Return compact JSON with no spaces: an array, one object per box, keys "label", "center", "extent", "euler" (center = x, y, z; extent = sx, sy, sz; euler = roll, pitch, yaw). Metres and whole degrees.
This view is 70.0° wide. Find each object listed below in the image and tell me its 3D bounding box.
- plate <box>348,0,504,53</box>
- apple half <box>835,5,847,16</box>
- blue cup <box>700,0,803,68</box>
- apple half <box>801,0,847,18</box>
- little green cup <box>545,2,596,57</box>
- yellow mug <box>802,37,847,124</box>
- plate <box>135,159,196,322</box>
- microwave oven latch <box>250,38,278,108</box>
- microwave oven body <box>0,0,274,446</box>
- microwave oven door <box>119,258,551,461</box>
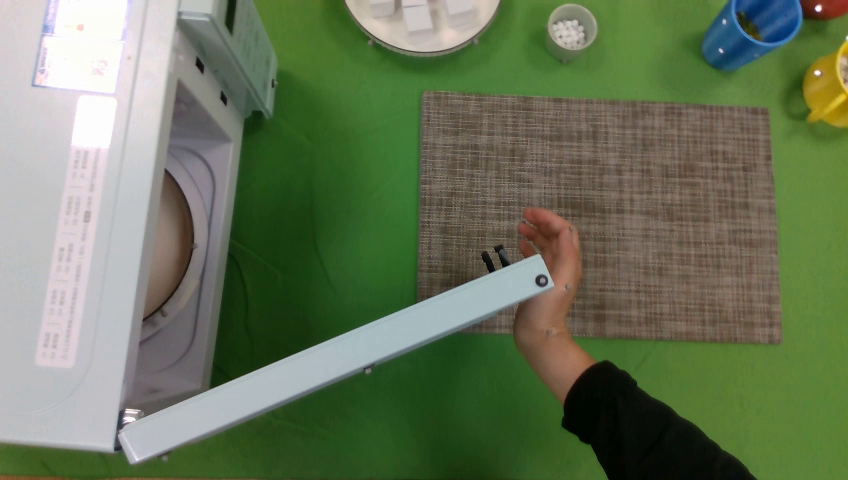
[{"label":"plate","center":[0.002,-0.332,0.770],"extent":[0.208,0.039,0.207],"euler":[0,82,-3]},{"label":"apple half","center":[0.551,-0.326,0.779],"extent":[0.033,0.081,0.081],"euler":[8,81,2]},{"label":"blue cup","center":[0.394,-0.261,0.749],"extent":[0.093,0.100,0.092],"euler":[0,83,-4]},{"label":"apple half","center":[0.512,-0.331,0.779],"extent":[0.053,0.075,0.080],"euler":[8,85,2]},{"label":"little green cup","center":[0.184,-0.265,0.771],"extent":[0.061,0.039,0.061],"euler":[0,82,-2]},{"label":"yellow mug","center":[0.536,-0.195,0.765],"extent":[0.131,0.064,0.100],"euler":[-40,86,-6]},{"label":"plate","center":[-0.346,-0.005,0.641],"extent":[0.209,0.038,0.208],"euler":[1,83,-4]},{"label":"microwave oven latch","center":[-0.193,-0.200,0.722],"extent":[0.030,0.029,0.079],"euler":[7,82,-2]},{"label":"microwave oven body","center":[-0.352,-0.054,0.597],"extent":[0.326,0.260,0.440],"euler":[5,82,-3]},{"label":"microwave oven door","center":[-0.069,0.105,0.585],"extent":[0.356,0.244,0.039],"euler":[-22,82,-6]}]
